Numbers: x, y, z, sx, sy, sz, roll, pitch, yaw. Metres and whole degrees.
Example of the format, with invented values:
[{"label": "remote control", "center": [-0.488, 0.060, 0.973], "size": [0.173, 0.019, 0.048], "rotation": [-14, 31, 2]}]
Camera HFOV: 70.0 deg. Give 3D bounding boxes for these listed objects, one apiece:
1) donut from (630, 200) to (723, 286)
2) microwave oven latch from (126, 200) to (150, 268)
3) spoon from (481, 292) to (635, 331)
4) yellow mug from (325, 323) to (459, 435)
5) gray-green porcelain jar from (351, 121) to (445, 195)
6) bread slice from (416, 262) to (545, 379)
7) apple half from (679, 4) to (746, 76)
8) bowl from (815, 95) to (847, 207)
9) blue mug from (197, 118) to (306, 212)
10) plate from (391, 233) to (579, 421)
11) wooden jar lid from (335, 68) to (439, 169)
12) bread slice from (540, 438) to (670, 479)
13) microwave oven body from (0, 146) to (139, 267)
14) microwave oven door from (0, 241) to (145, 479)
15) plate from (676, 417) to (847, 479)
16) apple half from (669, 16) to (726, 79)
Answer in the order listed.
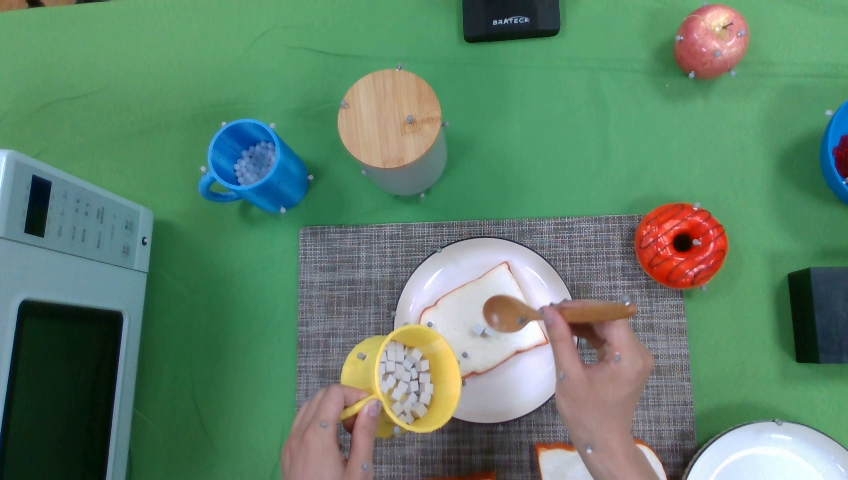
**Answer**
[{"label": "donut", "center": [0.282, 0.003, 0.679], "size": [0.099, 0.048, 0.098], "rotation": [-1, 82, 5]}, {"label": "microwave oven latch", "center": [-0.351, -0.007, 0.730], "size": [0.030, 0.029, 0.079], "rotation": [3, 81, 6]}, {"label": "spoon", "center": [0.107, 0.063, 0.523], "size": [0.022, 0.193, 0.041], "rotation": [-23, 95, -25]}, {"label": "yellow mug", "center": [-0.036, 0.140, 0.575], "size": [0.131, 0.064, 0.100], "rotation": [-20, 86, -40]}, {"label": "gray-green porcelain jar", "center": [-0.031, -0.113, 0.691], "size": [0.106, 0.127, 0.105], "rotation": [-1, 80, 6]}, {"label": "bread slice", "center": [0.058, 0.099, 0.690], "size": [0.131, 0.019, 0.104], "rotation": [-28, 78, -1]}, {"label": "apple half", "center": [0.337, -0.235, 0.702], "size": [0.053, 0.075, 0.080], "rotation": [-33, 75, -6]}, {"label": "bowl", "center": [0.494, -0.088, 0.660], "size": [0.151, 0.077, 0.151], "rotation": [-1, 81, 6]}, {"label": "blue mug", "center": [-0.208, -0.078, 0.712], "size": [0.116, 0.106, 0.082], "rotation": [-27, 78, 1]}, {"label": "plate", "center": [0.068, 0.097, 0.687], "size": [0.207, 0.039, 0.207], "rotation": [-1, 81, 6]}, {"label": "wooden jar lid", "center": [-0.038, -0.124, 0.630], "size": [0.108, 0.021, 0.108], "rotation": [-1, 78, 6]}, {"label": "bread slice", "center": [0.194, 0.264, 0.624], "size": [0.135, 0.018, 0.106], "rotation": [-6, 76, -16]}, {"label": "microwave oven body", "center": [-0.515, 0.147, 0.622], "size": [0.326, 0.261, 0.440], "rotation": [1, 81, 5]}, {"label": "microwave oven door", "center": [-0.373, 0.191, 0.595], "size": [0.039, 0.245, 0.354], "rotation": [1, 80, 6]}, {"label": "plate", "center": [0.362, 0.289, 0.630], "size": [0.209, 0.038, 0.208], "rotation": [-1, 80, 6]}, {"label": "apple half", "center": [0.306, -0.212, 0.700], "size": [0.033, 0.081, 0.081], "rotation": [-34, 78, -6]}]
